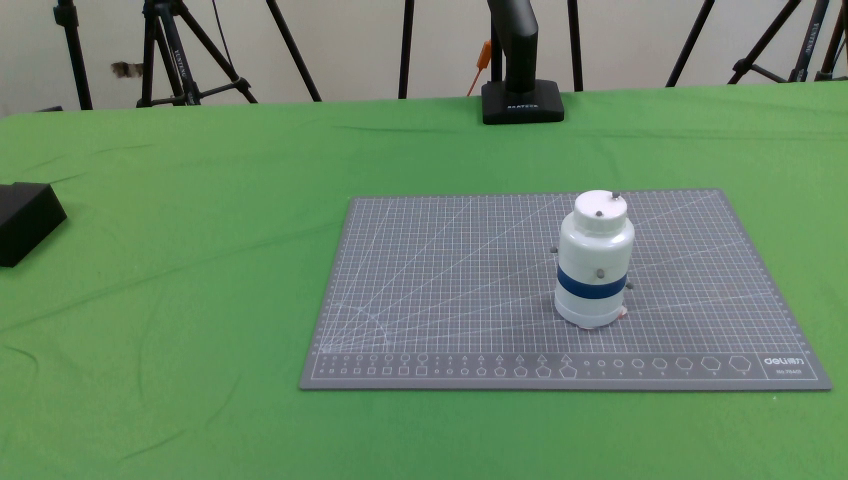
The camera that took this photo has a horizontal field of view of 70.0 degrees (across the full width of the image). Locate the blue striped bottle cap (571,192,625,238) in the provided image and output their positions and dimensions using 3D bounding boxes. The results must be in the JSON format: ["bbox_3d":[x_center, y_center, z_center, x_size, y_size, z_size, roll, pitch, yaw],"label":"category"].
[{"bbox_3d":[0.149,-0.022,0.519,0.044,0.021,0.044,-2,39,2],"label":"blue striped bottle cap"}]

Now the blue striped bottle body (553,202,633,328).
[{"bbox_3d":[0.153,0.018,0.550,0.063,0.122,0.062,-3,38,3],"label":"blue striped bottle body"}]
